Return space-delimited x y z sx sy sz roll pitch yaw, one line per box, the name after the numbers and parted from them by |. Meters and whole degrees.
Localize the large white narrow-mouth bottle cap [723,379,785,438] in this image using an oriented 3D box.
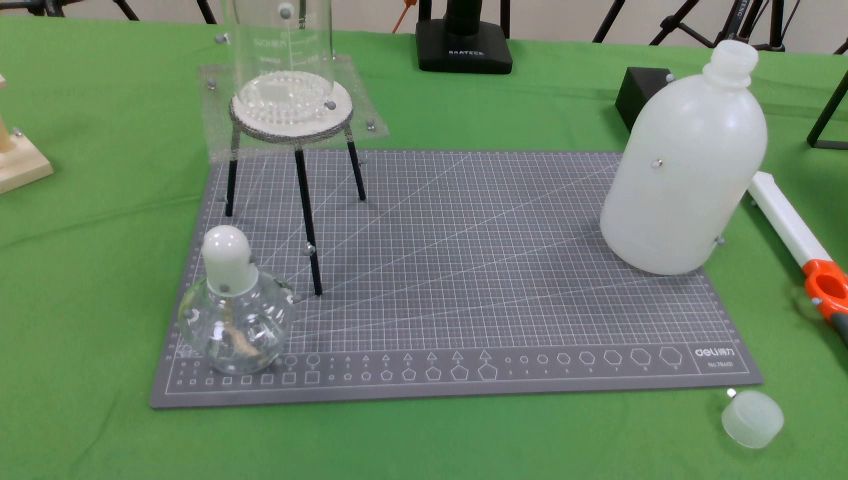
0.237 0.121 0.437 0.038 0.024 0.037 3 44 -3 | large white narrow-mouth bottle cap

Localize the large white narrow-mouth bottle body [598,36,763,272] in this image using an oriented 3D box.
0.215 -0.070 0.499 0.102 0.196 0.101 3 45 -2 | large white narrow-mouth bottle body

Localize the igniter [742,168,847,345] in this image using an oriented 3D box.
0.352 0.027 0.540 0.057 0.025 0.273 8 43 -13 | igniter

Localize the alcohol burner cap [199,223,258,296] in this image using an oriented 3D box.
-0.125 0.010 0.384 0.034 0.048 0.033 3 51 -3 | alcohol burner cap

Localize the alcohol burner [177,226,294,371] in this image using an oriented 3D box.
-0.129 0.035 0.411 0.078 0.120 0.077 5 43 -4 | alcohol burner

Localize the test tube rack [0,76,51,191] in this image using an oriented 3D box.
-0.454 -0.056 0.488 0.066 0.086 0.242 37 52 27 | test tube rack

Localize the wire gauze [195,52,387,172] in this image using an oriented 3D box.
-0.101 -0.103 0.445 0.122 0.011 0.123 -12 51 -15 | wire gauze

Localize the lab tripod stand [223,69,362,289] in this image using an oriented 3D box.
-0.102 -0.055 0.490 0.148 0.132 0.147 5 45 -4 | lab tripod stand

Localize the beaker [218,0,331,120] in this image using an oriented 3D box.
-0.102 -0.140 0.412 0.084 0.101 0.073 -5 47 -12 | beaker
